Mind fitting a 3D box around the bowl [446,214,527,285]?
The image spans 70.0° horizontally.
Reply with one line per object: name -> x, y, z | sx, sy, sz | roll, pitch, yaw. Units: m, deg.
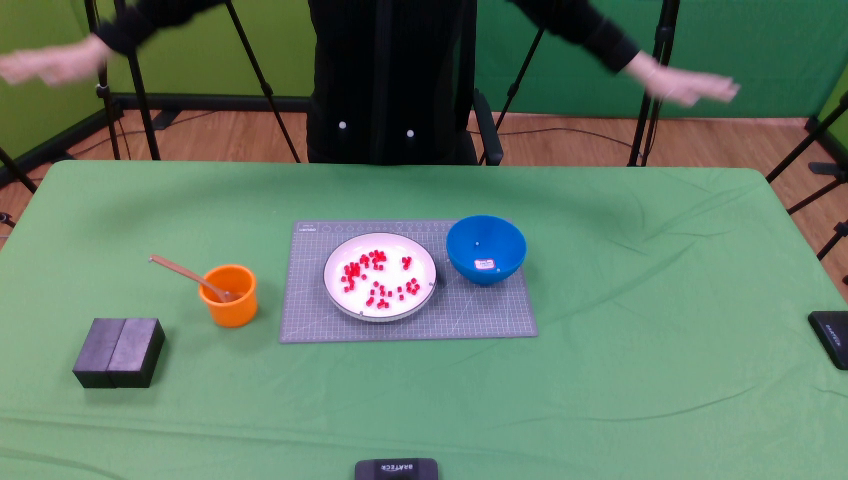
bowl -> 0.112, 0.030, 1.134 | 0.151, 0.077, 0.150 | 2, 46, -2

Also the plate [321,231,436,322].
plate -> -0.083, 0.070, 1.109 | 0.209, 0.038, 0.208 | 3, 46, -3

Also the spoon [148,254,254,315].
spoon -> -0.368, 0.072, 1.011 | 0.021, 0.195, 0.041 | -31, 36, 29
